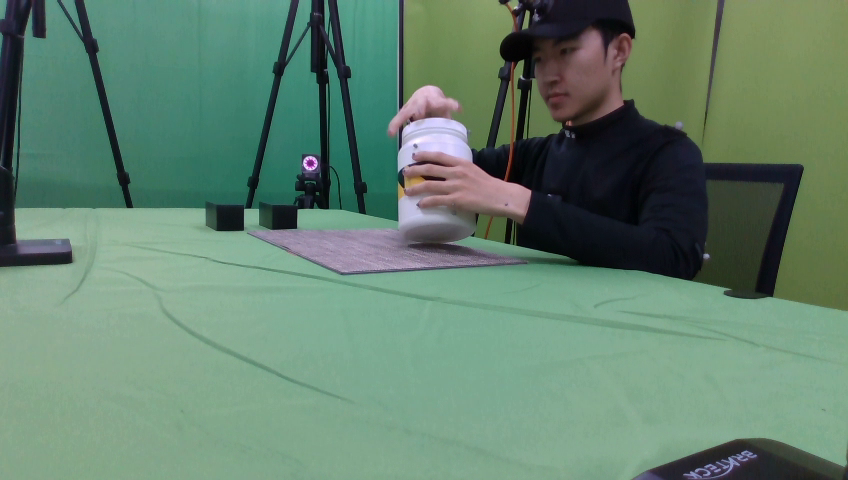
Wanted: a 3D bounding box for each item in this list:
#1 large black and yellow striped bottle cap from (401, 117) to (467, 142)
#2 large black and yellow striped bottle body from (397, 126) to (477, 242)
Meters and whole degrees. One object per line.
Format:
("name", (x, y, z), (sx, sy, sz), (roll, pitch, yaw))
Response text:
("large black and yellow striped bottle cap", (0.017, -0.181, 1.051), (0.115, 0.019, 0.115), (-1, -15, 0))
("large black and yellow striped bottle body", (0.020, -0.100, 1.029), (0.131, 0.183, 0.131), (-2, -15, 0))
